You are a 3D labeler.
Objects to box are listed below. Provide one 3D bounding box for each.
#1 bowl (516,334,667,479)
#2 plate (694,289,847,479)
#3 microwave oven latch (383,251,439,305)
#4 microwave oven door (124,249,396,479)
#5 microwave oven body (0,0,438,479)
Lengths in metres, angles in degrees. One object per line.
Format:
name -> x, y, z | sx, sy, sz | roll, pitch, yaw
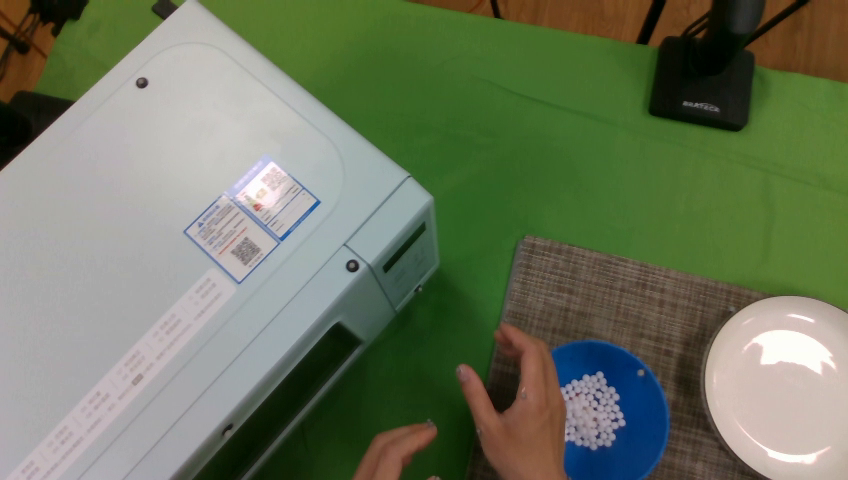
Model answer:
bowl -> 0.171, 0.180, 0.646 | 0.151, 0.077, 0.150 | -1, 75, 3
plate -> 0.399, 0.159, 0.664 | 0.207, 0.039, 0.206 | 0, 75, 2
microwave oven latch -> -0.016, 0.037, 0.699 | 0.030, 0.029, 0.079 | 41, 81, 12
microwave oven door -> -0.167, 0.169, 0.565 | 0.039, 0.245, 0.355 | 39, 80, 13
microwave oven body -> -0.249, 0.048, 0.606 | 0.324, 0.261, 0.441 | 40, 81, 11
